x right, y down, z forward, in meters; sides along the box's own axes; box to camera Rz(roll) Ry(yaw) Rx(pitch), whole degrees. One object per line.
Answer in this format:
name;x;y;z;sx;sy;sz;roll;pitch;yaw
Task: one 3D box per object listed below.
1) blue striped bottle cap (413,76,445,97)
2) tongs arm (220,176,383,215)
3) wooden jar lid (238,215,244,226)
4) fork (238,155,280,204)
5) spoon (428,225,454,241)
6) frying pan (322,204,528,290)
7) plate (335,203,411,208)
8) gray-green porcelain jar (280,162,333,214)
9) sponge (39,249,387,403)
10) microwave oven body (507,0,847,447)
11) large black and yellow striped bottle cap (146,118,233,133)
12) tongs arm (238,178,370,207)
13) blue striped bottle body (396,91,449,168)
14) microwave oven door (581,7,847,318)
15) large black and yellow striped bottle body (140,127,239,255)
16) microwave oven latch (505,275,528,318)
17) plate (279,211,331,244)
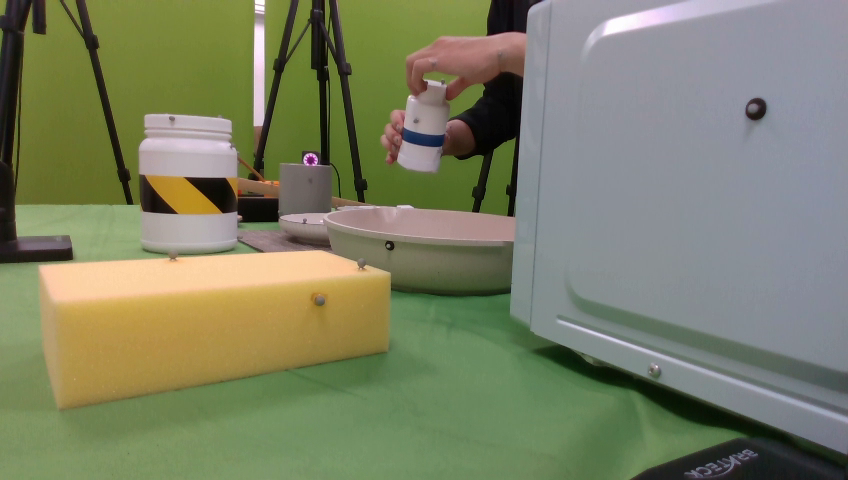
blue striped bottle cap;0.008;-0.215;0.843;0.044;0.020;0.044;10;24;-4
tongs arm;-0.285;-0.103;1.445;0.389;0.027;0.028;9;-4;-23
wooden jar lid;-0.404;-0.037;1.169;0.108;0.020;0.108;3;7;0
fork;-0.396;-0.143;1.486;0.028;0.018;0.208;20;-26;45
spoon;0.024;-0.018;1.124;0.042;0.021;0.193;-17;10;-4
frying pan;0.110;-0.018;0.800;0.490;0.102;0.305;-12;16;-30
plate;-0.089;-0.053;1.309;0.208;0.039;0.207;2;8;0
gray-green porcelain jar;-0.238;-0.092;1.221;0.106;0.126;0.106;2;7;0
sponge;-0.142;0.047;0.419;0.208;0.061;0.117;-3;8;-37
microwave oven body;0.331;-0.042;0.425;0.444;0.260;0.324;-2;8;-31
large black and yellow striped bottle cap;-0.333;-0.163;0.861;0.115;0.019;0.115;1;9;0
tongs arm;-0.241;-0.095;1.373;0.387;0.026;0.050;9;0;-37
blue striped bottle body;0.000;-0.168;0.863;0.063;0.121;0.063;9;23;-4
microwave oven door;0.295;-0.067;0.569;0.358;0.243;0.039;-3;8;-31
large black and yellow striped bottle body;-0.336;-0.078;0.871;0.131;0.184;0.130;2;8;0
microwave oven latch;0.100;0.041;0.472;0.079;0.029;0.030;-2;8;-31
plate;-0.139;-0.022;1.021;0.209;0.038;0.209;2;8;0
